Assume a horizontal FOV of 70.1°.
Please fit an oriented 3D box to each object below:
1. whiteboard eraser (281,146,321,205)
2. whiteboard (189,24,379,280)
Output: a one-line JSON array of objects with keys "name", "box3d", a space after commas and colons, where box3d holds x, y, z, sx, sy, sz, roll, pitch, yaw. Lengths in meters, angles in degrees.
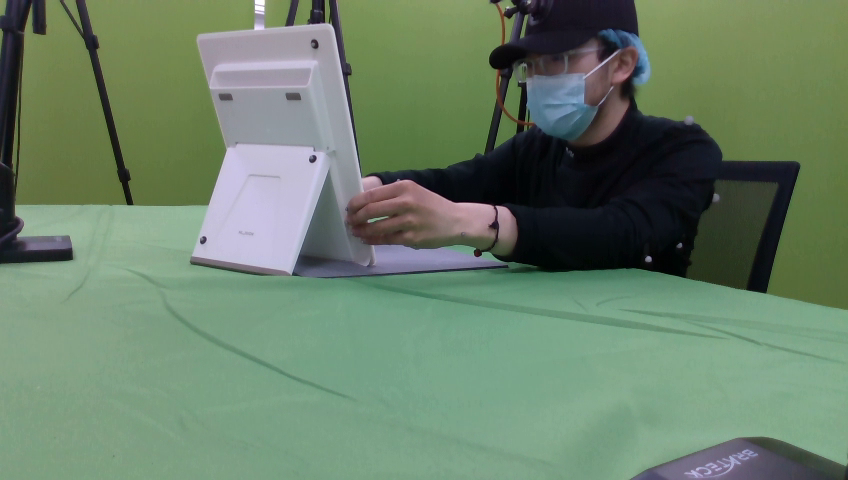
[{"name": "whiteboard eraser", "box3d": [-0.189, -0.094, 0.925, 0.042, 0.055, 0.112, -37, -11, -15]}, {"name": "whiteboard", "box3d": [-0.207, -0.085, 0.729, 0.216, 0.305, 0.144, 7, 30, 30]}]
